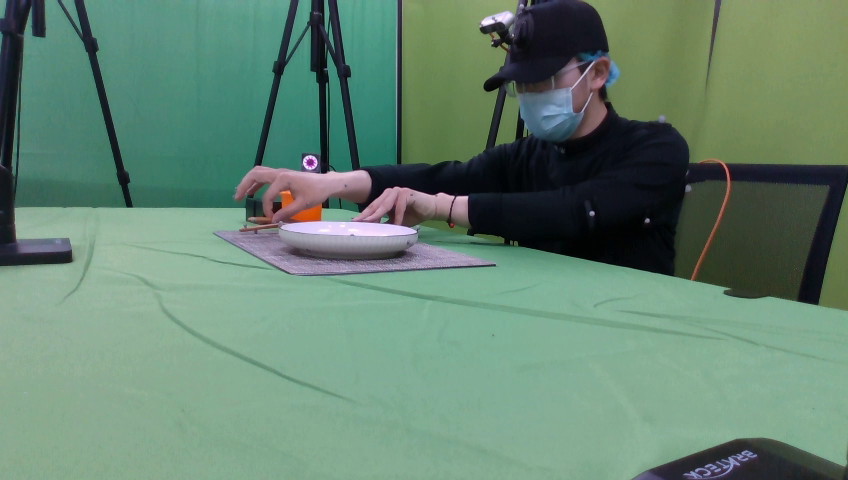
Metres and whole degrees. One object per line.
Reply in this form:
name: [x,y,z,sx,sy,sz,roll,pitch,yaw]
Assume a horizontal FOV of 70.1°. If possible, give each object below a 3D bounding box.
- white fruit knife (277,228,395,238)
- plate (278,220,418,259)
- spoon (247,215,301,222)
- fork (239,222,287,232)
white fruit knife: [-0.155,-0.014,1.073,0.208,0.016,0.027,2,14,-17]
plate: [-0.114,-0.002,0.914,0.209,0.038,0.209,2,7,0]
spoon: [-0.229,-0.031,1.069,0.041,0.021,0.195,25,8,39]
fork: [-0.240,-0.025,1.125,0.208,0.018,0.028,0,11,-35]
